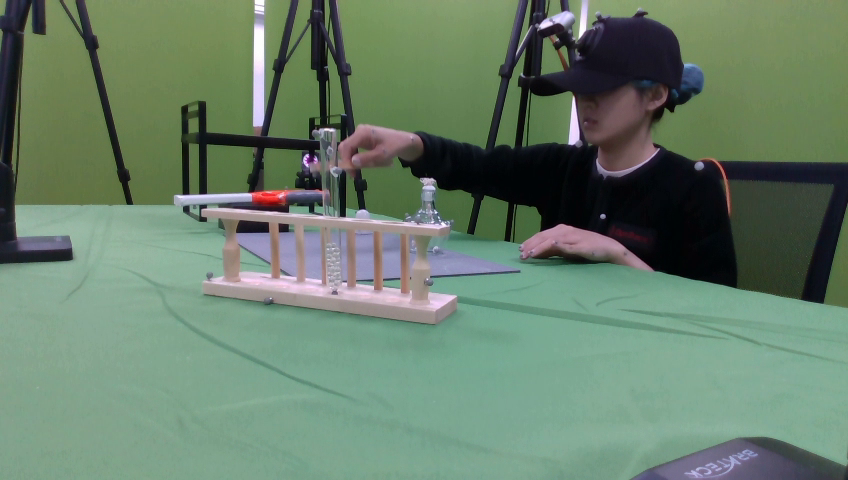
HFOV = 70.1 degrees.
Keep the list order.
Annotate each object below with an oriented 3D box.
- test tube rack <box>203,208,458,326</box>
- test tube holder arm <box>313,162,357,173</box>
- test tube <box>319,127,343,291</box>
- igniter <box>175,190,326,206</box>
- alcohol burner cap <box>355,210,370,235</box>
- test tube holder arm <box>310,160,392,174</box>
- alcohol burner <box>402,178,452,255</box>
[{"bbox_3d":[-0.090,0.019,0.579,0.241,0.085,0.067,5,7,19],"label":"test tube rack"},{"bbox_3d":[-0.139,-0.114,0.952,0.010,0.015,0.088,5,11,39],"label":"test tube holder arm"},{"bbox_3d":[-0.084,-0.027,0.552,0.017,0.150,0.017,-1,8,0],"label":"test tube"},{"bbox_3d":[-0.315,-0.079,1.128,0.278,0.025,0.057,-5,13,-34],"label":"igniter"},{"bbox_3d":[-0.116,-0.033,1.136,0.034,0.048,0.034,2,7,0],"label":"alcohol burner cap"},{"bbox_3d":[-0.115,-0.121,0.990,0.013,0.015,0.179,4,11,38],"label":"test tube holder arm"},{"bbox_3d":[0.005,-0.036,0.923,0.078,0.119,0.078,5,7,0],"label":"alcohol burner"}]
